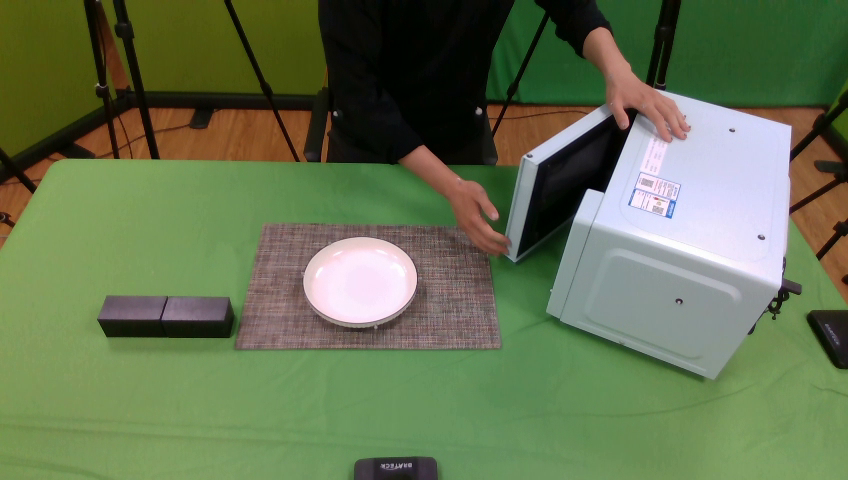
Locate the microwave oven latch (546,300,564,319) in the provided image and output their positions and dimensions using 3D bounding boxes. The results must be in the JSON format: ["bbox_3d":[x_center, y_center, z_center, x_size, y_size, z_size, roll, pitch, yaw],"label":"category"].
[{"bbox_3d":[0.242,0.102,1.081,0.030,0.029,0.079,21,48,17],"label":"microwave oven latch"}]

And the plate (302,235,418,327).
[{"bbox_3d":[-0.114,0.077,1.098,0.208,0.039,0.206,2,46,-2],"label":"plate"}]

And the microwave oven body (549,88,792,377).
[{"bbox_3d":[0.456,-0.028,1.088,0.325,0.261,0.440,20,47,16],"label":"microwave oven body"}]

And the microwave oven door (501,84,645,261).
[{"bbox_3d":[0.292,-0.134,1.171,0.356,0.245,0.039,-34,57,-31],"label":"microwave oven door"}]
